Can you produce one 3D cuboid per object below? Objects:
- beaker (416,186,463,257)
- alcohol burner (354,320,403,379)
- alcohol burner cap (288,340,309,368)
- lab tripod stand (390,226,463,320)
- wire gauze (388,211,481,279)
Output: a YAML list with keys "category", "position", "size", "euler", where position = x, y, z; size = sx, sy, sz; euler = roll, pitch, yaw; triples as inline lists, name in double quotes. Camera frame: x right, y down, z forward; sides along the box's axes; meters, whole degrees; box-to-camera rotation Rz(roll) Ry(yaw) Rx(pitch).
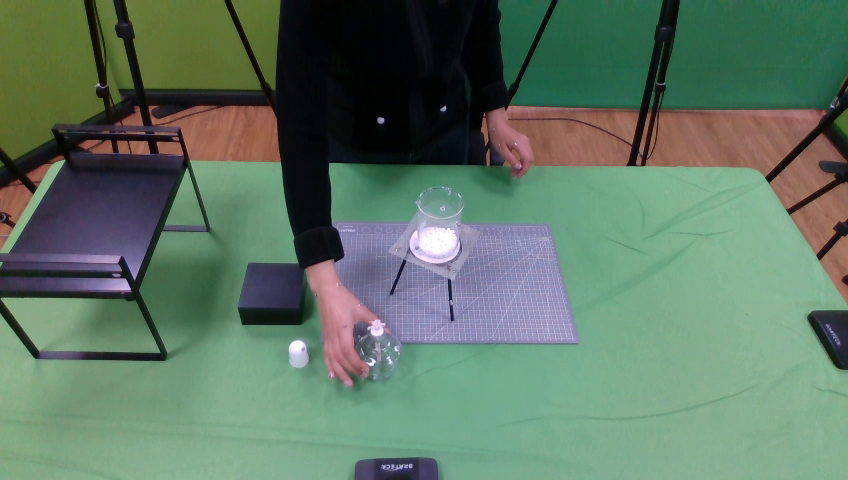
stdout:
- category: "beaker"
  position: [0.024, -0.029, 0.984]
  size: [0.074, 0.101, 0.083]
  euler: [19, 49, 14]
- category: "alcohol burner"
  position: [-0.073, 0.169, 0.965]
  size: [0.078, 0.120, 0.077]
  euler: [0, 46, 0]
- category: "alcohol burner cap"
  position: [-0.207, 0.183, 0.991]
  size: [0.034, 0.048, 0.033]
  euler: [2, 46, -2]
- category: "lab tripod stand"
  position: [0.014, 0.053, 1.063]
  size: [0.148, 0.132, 0.147]
  euler: [1, 48, -1]
- category: "wire gauze"
  position: [0.018, 0.003, 1.020]
  size: [0.125, 0.011, 0.121]
  euler: [20, 47, 18]
